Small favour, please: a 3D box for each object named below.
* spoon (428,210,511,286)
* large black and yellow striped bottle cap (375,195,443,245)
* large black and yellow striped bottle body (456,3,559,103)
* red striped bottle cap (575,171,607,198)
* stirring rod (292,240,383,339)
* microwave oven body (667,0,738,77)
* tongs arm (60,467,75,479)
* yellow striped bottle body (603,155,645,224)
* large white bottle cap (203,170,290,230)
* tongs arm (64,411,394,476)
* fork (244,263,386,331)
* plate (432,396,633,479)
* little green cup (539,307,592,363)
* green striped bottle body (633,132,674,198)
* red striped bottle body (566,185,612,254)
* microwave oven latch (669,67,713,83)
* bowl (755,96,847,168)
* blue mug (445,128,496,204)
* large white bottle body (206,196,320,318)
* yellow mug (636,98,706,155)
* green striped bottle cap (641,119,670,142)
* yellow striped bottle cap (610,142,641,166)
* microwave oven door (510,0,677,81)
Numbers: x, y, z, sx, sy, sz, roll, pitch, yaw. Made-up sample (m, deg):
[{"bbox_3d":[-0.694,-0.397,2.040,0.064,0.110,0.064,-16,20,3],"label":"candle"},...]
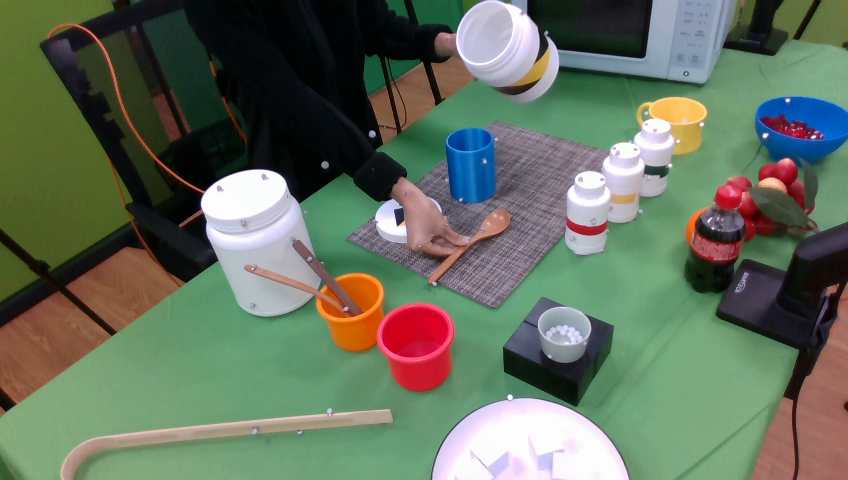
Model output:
[{"bbox_3d":[0.070,0.010,0.946,0.041,0.022,0.194,33,53,28],"label":"spoon"},{"bbox_3d":[-0.026,-0.036,1.023,0.115,0.019,0.114,-3,41,3],"label":"large black and yellow striped bottle cap"},{"bbox_3d":[0.147,-0.327,1.063,0.130,0.130,0.185,23,7,31],"label":"large black and yellow striped bottle body"},{"bbox_3d":[0.242,-0.081,0.876,0.044,0.018,0.044,-5,44,5],"label":"red striped bottle cap"},{"bbox_3d":[-0.118,0.068,0.826,0.176,0.006,0.014,49,59,-4],"label":"stirring rod"},{"bbox_3d":[0.462,-0.552,1.369,0.439,0.261,0.326,15,45,26],"label":"microwave oven body"},{"bbox_3d":[-0.239,0.301,0.648,0.386,0.028,0.028,6,49,16],"label":"tongs arm"},{"bbox_3d":[0.314,-0.090,0.957,0.063,0.121,0.062,-4,40,4],"label":"yellow striped bottle body"},{"bbox_3d":[-0.241,-0.057,0.822,0.115,0.018,0.114,-4,41,4],"label":"large white bottle cap"},{"bbox_3d":[-0.228,0.241,0.715,0.385,0.026,0.050,-5,43,4],"label":"tongs arm"},{"bbox_3d":[-0.141,0.077,0.807,0.209,0.018,0.028,30,44,-24],"label":"fork"},{"bbox_3d":[0.112,0.261,0.634,0.209,0.038,0.208,-5,40,4],"label":"plate"},{"bbox_3d":[0.168,0.115,0.721,0.061,0.039,0.061,-4,42,4],"label":"little green cup"},{"bbox_3d":[0.376,-0.135,1.001,0.063,0.120,0.063,-5,40,5],"label":"green striped bottle body"},{"bbox_3d":[0.248,-0.041,0.910,0.063,0.120,0.062,-4,41,4],"label":"red striped bottle body"},{"bbox_3d":[0.556,-0.348,1.262,0.078,0.029,0.030,15,46,26],"label":"microwave oven latch"},{"bbox_3d":[0.645,-0.177,1.041,0.151,0.077,0.150,-5,40,4],"label":"bowl"},{"bbox_3d":[0.083,-0.139,1.057,0.082,0.106,0.116,-2,40,6],"label":"blue mug"},{"bbox_3d":[-0.233,0.008,0.876,0.130,0.185,0.130,-4,40,4],"label":"large white bottle body"},{"bbox_3d":[0.453,-0.217,1.128,0.100,0.064,0.129,-34,46,-27],"label":"yellow mug"},{"bbox_3d":[0.371,-0.175,0.968,0.044,0.020,0.044,-5,42,5],"label":"green striped bottle cap"},{"bbox_3d":[0.308,-0.131,0.925,0.044,0.019,0.044,-4,45,5],"label":"yellow striped bottle cap"},{"bbox_3d":[0.354,-0.478,1.290,0.353,0.245,0.039,15,45,25],"label":"microwave oven door"}]
